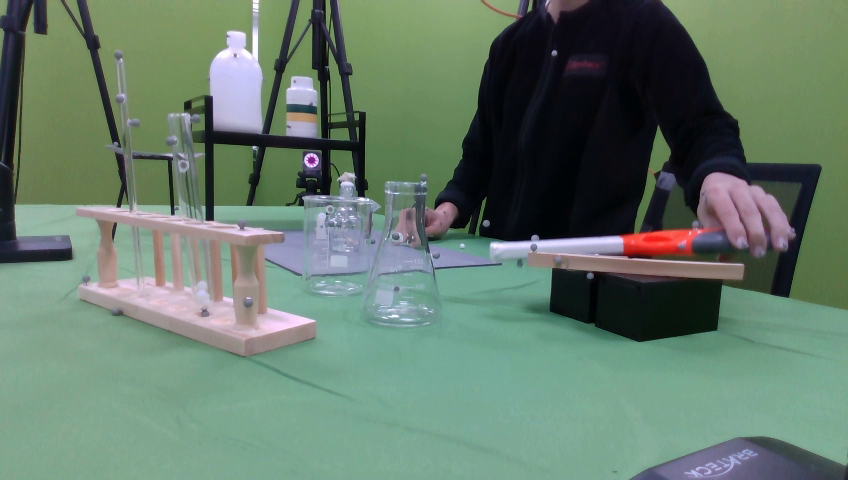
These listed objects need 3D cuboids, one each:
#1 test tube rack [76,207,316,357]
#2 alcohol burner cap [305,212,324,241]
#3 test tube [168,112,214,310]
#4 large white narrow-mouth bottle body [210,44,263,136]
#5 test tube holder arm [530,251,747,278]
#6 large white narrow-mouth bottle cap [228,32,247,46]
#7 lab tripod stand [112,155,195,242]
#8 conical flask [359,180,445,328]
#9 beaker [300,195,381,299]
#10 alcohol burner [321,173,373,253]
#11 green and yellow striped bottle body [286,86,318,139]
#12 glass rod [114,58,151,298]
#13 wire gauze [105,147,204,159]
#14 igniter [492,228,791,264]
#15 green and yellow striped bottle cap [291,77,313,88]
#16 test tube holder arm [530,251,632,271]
[{"bbox_3d":[-0.196,0.023,0.500,0.241,0.085,0.067,8,9,36],"label":"test tube rack"},{"bbox_3d":[-0.185,-0.023,1.027,0.034,0.048,0.034,2,6,0],"label":"alcohol burner cap"},{"bbox_3d":[-0.175,-0.020,0.455,0.017,0.150,0.017,-4,9,1],"label":"test tube"},{"bbox_3d":[-0.369,-0.305,1.194,0.102,0.194,0.102,3,8,0],"label":"large white narrow-mouth bottle body"},{"bbox_3d":[0.182,0.022,0.523,0.178,0.015,0.013,3,7,12],"label":"test tube holder arm"},{"bbox_3d":[-0.364,-0.391,1.180,0.038,0.024,0.037,3,8,0],"label":"large white narrow-mouth bottle cap"},{"bbox_3d":[-0.405,-0.064,0.931,0.148,0.131,0.148,1,6,0],"label":"lab tripod stand"},{"bbox_3d":[-0.017,0.010,0.522,0.075,0.122,0.075,2,7,0],"label":"conical flask"},{"bbox_3d":[-0.087,0.006,0.626,0.084,0.100,0.074,1,8,-17],"label":"beaker"},{"bbox_3d":[-0.115,-0.041,0.905,0.078,0.119,0.078,1,6,0],"label":"alcohol burner"},{"bbox_3d":[-0.251,-0.270,1.245,0.063,0.119,0.063,2,7,0],"label":"green and yellow striped bottle body"},{"bbox_3d":[-0.236,-0.044,0.492,0.008,0.199,0.008,0,15,0],"label":"glass rod"},{"bbox_3d":[-0.407,-0.131,0.928,0.125,0.011,0.121,2,6,-11],"label":"wire gauze"},{"bbox_3d":[0.205,0.007,0.586,0.276,0.025,0.057,-3,7,5],"label":"igniter"},{"bbox_3d":[-0.250,-0.321,1.237,0.045,0.020,0.045,3,6,0],"label":"green and yellow striped bottle cap"},{"bbox_3d":[0.139,0.019,0.538,0.087,0.015,0.010,3,7,13],"label":"test tube holder arm"}]
